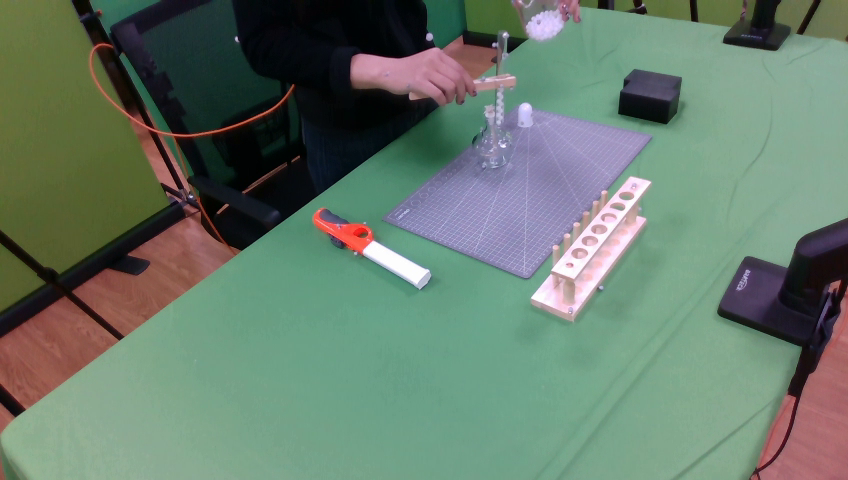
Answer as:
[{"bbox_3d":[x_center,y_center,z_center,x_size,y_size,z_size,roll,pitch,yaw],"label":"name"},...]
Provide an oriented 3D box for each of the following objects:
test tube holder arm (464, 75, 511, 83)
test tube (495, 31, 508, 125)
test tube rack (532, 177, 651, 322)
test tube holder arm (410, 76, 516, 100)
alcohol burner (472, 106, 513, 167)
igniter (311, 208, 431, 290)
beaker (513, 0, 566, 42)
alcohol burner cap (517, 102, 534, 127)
[{"bbox_3d":[0.101,-0.251,0.965,0.088,0.015,0.010,-17,30,-26],"label":"test tube holder arm"},{"bbox_3d":[0.124,-0.257,0.969,0.017,0.150,0.017,-1,31,1],"label":"test tube"},{"bbox_3d":[0.247,0.002,0.883,0.066,0.085,0.243,22,49,32],"label":"test tube rack"},{"bbox_3d":[0.063,-0.238,0.944,0.179,0.015,0.013,-13,28,-20],"label":"test tube holder arm"},{"bbox_3d":[0.125,-0.195,1.111,0.078,0.119,0.077,-5,42,5],"label":"alcohol burner"},{"bbox_3d":[-0.096,0.008,0.985,0.274,0.025,0.057,29,63,36],"label":"igniter"},{"bbox_3d":[0.185,-0.376,0.977,0.073,0.101,0.084,5,68,28],"label":"beaker"},{"bbox_3d":[0.205,-0.255,1.223,0.034,0.048,0.033,-6,40,6],"label":"alcohol burner cap"}]
